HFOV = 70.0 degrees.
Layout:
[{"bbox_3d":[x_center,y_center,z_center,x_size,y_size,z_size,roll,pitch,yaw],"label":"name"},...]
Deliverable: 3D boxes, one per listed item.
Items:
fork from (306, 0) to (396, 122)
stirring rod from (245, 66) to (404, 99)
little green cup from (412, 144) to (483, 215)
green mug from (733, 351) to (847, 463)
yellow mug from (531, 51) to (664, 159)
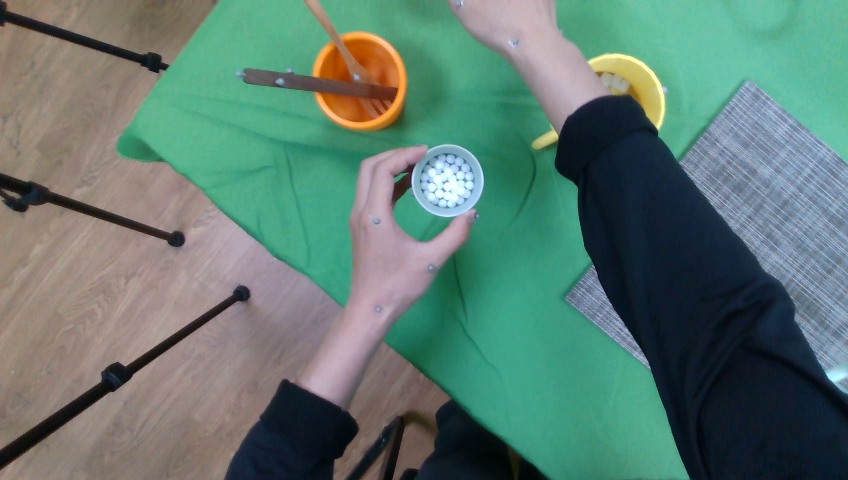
[{"bbox_3d":[-0.083,-0.194,0.580,0.028,0.018,0.210,-35,135,2],"label":"fork"},{"bbox_3d":[-0.090,-0.152,0.589,0.177,0.006,0.014,-5,96,-40],"label":"stirring rod"},{"bbox_3d":[0.021,-0.055,0.530,0.061,0.038,0.062,1,105,3],"label":"little green cup"},{"bbox_3d":[0.390,0.157,0.609,0.125,0.105,0.092,-34,91,4],"label":"green mug"},{"bbox_3d":[0.170,-0.128,0.619,0.131,0.064,0.100,-25,94,5],"label":"yellow mug"}]
